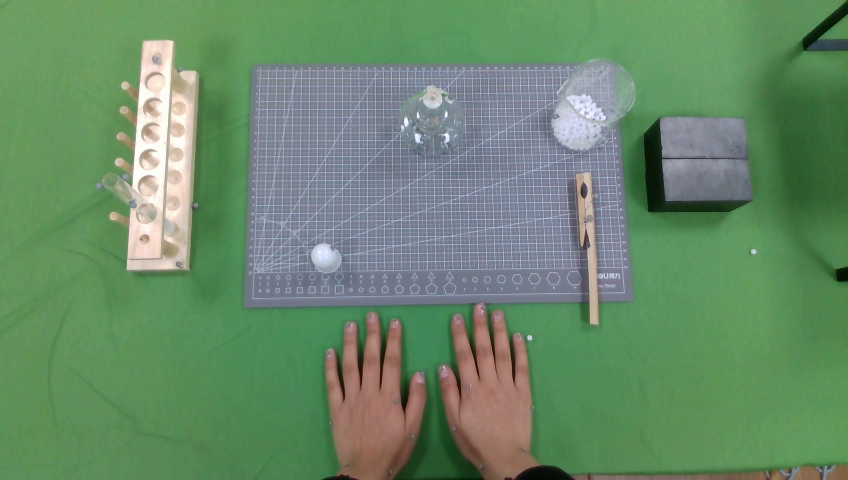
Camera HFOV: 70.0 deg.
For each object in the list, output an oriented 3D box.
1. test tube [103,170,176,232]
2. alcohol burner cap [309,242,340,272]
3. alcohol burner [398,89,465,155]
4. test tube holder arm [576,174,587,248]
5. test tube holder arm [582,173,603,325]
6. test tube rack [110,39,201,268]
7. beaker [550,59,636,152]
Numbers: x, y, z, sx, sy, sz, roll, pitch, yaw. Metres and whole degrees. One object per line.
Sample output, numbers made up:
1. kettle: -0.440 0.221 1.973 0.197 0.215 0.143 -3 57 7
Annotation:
1. test tube: -0.286 -0.035 0.620 0.017 0.151 0.017 1 74 -2
2. alcohol burner cap: -0.114 0.017 0.684 0.034 0.048 0.033 1 78 -3
3. alcohol burner: 0.009 -0.140 0.682 0.078 0.119 0.077 0 80 0
4. test tube holder arm: 0.188 -0.034 0.716 0.010 0.015 0.087 -7 80 30
5. test tube holder arm: 0.195 0.009 0.706 0.013 0.015 0.177 -9 79 30
6. test tube rack: -0.304 -0.094 0.680 0.067 0.085 0.241 0 79 -1
7. beaker: 0.186 -0.149 0.696 0.084 0.100 0.073 -2 78 -1
